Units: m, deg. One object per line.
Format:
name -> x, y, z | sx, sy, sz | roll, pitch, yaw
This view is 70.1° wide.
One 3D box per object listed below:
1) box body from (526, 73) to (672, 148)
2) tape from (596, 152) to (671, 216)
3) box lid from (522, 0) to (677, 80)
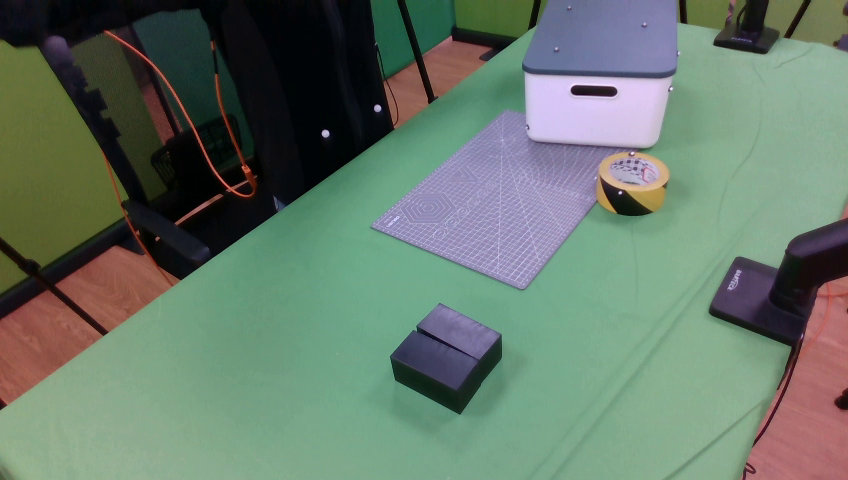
box body -> 0.356, -0.342, 1.212 | 0.253, 0.161, 0.363 | 7, 42, 17
tape -> 0.349, -0.095, 1.009 | 0.117, 0.053, 0.116 | -3, 42, 3
box lid -> 0.346, -0.397, 1.163 | 0.262, 0.015, 0.371 | 6, 42, 17
